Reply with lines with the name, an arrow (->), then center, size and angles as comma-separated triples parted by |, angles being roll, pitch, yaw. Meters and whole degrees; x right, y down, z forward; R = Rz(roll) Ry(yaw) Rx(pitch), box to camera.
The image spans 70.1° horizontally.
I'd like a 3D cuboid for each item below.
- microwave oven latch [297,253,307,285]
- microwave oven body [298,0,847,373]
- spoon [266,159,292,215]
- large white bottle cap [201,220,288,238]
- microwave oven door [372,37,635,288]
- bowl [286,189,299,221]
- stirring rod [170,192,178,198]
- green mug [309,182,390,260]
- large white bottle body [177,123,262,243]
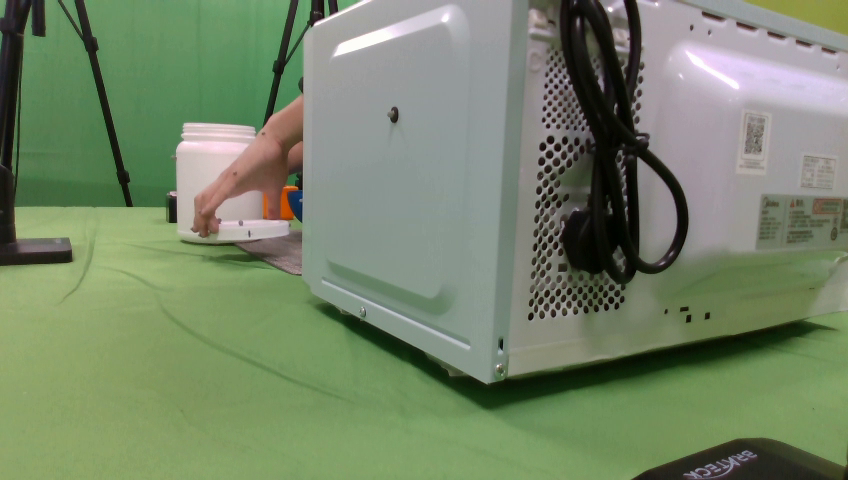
microwave oven latch -> -0.082, 0.027, 0.583 | 0.079, 0.029, 0.030 | -2, 7, -33
microwave oven body -> 0.151, -0.055, 0.542 | 0.444, 0.260, 0.324 | -2, 7, -33
spoon -> -0.334, -0.128, 1.424 | 0.041, 0.193, 0.022 | 0, -38, 7
large white bottle cap -> -0.246, -0.015, 0.832 | 0.115, 0.018, 0.115 | -1, 6, 0
microwave oven door -> 0.110, -0.080, 0.686 | 0.358, 0.243, 0.039 | -3, 8, -33
bowl -> -0.178, -0.051, 1.115 | 0.151, 0.077, 0.151 | 2, 8, 0
stirring rod -> -0.465, -0.098, 1.283 | 0.014, 0.006, 0.177 | 42, 21, 17
green mug -> -0.102, -0.029, 0.864 | 0.126, 0.105, 0.092 | -3, 8, -40
large white bottle body -> -0.329, -0.093, 0.979 | 0.131, 0.184, 0.130 | 2, 7, 0
